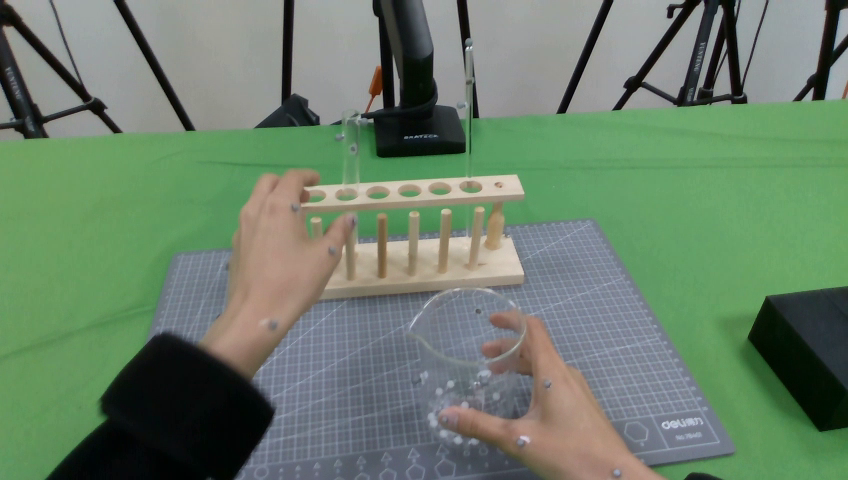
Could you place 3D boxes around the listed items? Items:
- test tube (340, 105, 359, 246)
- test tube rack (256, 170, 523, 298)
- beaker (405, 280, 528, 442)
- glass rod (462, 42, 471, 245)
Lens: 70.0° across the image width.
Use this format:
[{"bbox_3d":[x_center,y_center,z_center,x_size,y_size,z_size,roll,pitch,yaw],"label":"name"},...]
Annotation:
[{"bbox_3d":[-0.068,-0.052,0.550,0.017,0.151,0.017,4,40,-3],"label":"test tube"},{"bbox_3d":[-0.029,-0.007,0.573,0.243,0.086,0.066,-4,39,-6],"label":"test tube rack"},{"bbox_3d":[0.030,0.091,0.438,0.084,0.101,0.073,-3,38,-3],"label":"beaker"},{"bbox_3d":[0.039,-0.081,0.562,0.008,0.201,0.008,-1,32,1],"label":"glass rod"}]
